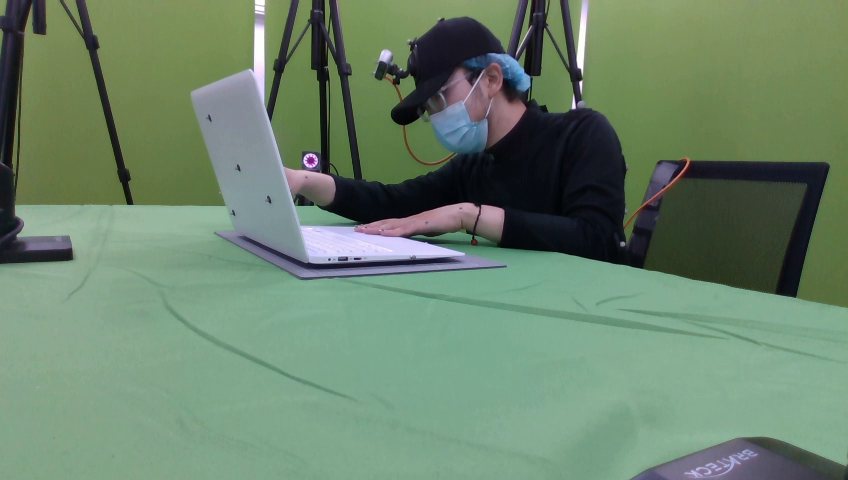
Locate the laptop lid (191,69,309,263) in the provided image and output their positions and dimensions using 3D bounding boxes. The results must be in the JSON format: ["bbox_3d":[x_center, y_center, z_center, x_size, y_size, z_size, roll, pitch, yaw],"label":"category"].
[{"bbox_3d":[-0.255,-0.102,0.842,0.013,0.242,0.355,-22,20,-27],"label":"laptop lid"}]

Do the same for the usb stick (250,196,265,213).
[{"bbox_3d":[-0.299,-0.063,1.085,0.021,0.027,0.059,19,4,-18],"label":"usb stick"}]

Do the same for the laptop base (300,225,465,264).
[{"bbox_3d":[-0.128,0.005,0.937,0.237,0.023,0.352,2,6,-32],"label":"laptop base"}]
